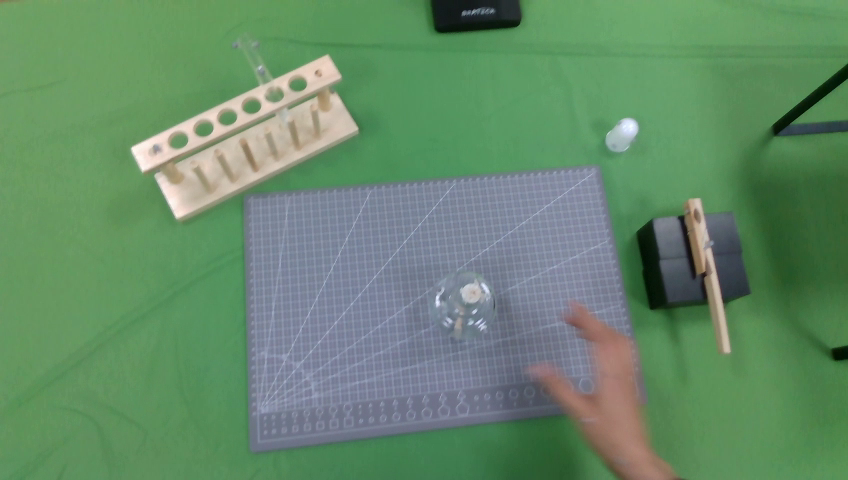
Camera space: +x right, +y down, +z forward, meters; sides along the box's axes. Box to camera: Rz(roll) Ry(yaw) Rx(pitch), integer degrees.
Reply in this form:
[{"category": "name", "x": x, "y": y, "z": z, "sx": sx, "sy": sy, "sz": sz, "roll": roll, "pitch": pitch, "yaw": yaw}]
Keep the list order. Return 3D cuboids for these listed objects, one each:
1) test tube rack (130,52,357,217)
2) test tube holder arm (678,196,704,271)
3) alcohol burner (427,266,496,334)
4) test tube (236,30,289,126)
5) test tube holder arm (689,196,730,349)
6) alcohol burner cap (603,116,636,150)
[{"category": "test tube rack", "x": -0.204, "y": -0.124, "z": 0.718, "sx": 0.242, "sy": 0.085, "sz": 0.066, "roll": -29, "pitch": 77, "yaw": -11}, {"category": "test tube holder arm", "x": 0.312, "y": -0.007, "z": 0.703, "sx": 0.010, "sy": 0.015, "sz": 0.087, "roll": -6, "pitch": 76, "yaw": -5}, {"category": "alcohol burner", "x": 0.043, "y": 0.063, "z": 0.664, "sx": 0.078, "sy": 0.119, "sz": 0.077, "roll": 1, "pitch": 74, "yaw": -5}, {"category": "test tube", "x": -0.176, "y": -0.176, "z": 0.681, "sx": 0.017, "sy": 0.151, "sz": 0.017, "roll": -2, "pitch": 65, "yaw": 5}, {"category": "test tube holder arm", "x": 0.324, "y": 0.035, "z": 0.693, "sx": 0.013, "sy": 0.015, "sz": 0.177, "roll": -7, "pitch": 76, "yaw": -5}, {"category": "alcohol burner cap", "x": 0.253, "y": -0.139, "z": 0.776, "sx": 0.034, "sy": 0.048, "sz": 0.033, "roll": 1, "pitch": 73, "yaw": -2}]
